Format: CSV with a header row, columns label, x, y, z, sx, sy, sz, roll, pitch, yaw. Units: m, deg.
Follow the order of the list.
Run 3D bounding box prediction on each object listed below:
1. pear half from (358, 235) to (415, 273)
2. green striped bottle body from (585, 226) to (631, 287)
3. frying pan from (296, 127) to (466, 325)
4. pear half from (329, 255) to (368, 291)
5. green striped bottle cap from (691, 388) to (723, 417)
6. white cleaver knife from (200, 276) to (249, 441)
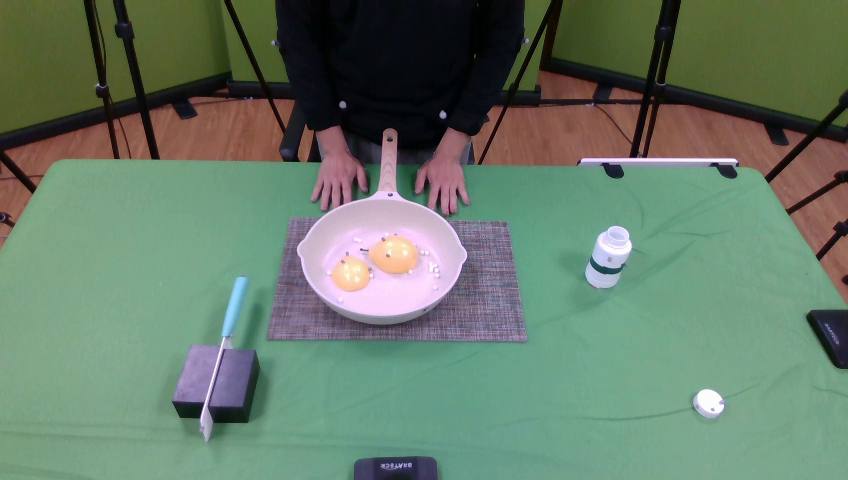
label,x,y,z,sx,sy,sz,roll,pitch,yaw
pear half,-0.074,0.017,1.146,0.110,0.056,0.076,9,41,6
green striped bottle body,0.345,0.028,1.129,0.063,0.120,0.063,2,46,-2
frying pan,-0.076,-0.044,1.172,0.307,0.103,0.485,3,55,-2
pear half,-0.140,0.053,1.122,0.070,0.031,0.087,-7,51,-17
green striped bottle cap,0.460,0.263,0.984,0.044,0.020,0.044,3,46,-3
white cleaver knife,-0.321,0.177,0.971,0.021,0.066,0.284,7,48,-5
